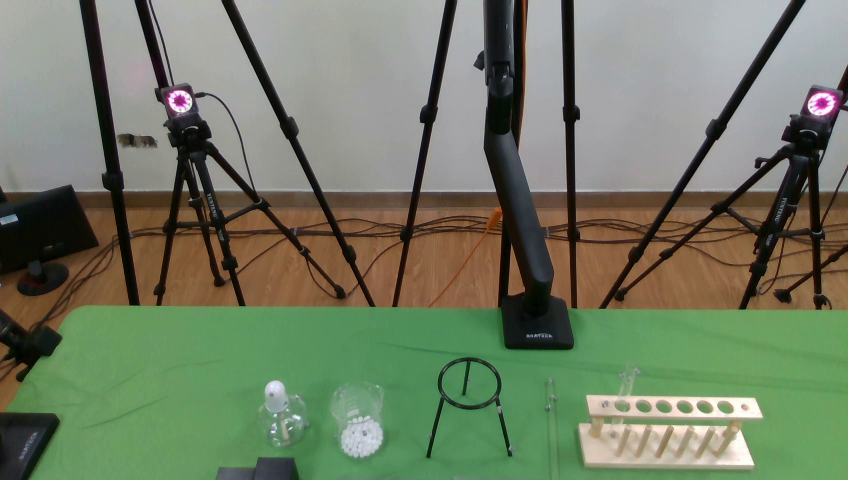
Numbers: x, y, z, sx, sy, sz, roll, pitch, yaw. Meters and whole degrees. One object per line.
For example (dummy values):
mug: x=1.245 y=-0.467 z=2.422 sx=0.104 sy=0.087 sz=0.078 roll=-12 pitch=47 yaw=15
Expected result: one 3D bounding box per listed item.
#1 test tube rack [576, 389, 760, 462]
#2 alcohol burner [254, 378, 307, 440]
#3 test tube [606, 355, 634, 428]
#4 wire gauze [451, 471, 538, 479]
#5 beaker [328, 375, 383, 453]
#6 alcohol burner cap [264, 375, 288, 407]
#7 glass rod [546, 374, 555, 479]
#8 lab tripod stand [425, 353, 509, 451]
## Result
test tube rack: x=0.353 y=0.271 z=0.883 sx=0.242 sy=0.086 sz=0.066 roll=0 pitch=41 yaw=2
alcohol burner: x=-0.216 y=0.244 z=0.903 sx=0.078 sy=0.120 sz=0.077 roll=0 pitch=39 yaw=0
test tube: x=0.280 y=0.220 z=0.868 sx=0.017 sy=0.151 sz=0.017 roll=-1 pitch=38 yaw=1
wire gauze: x=0.098 y=0.371 z=0.826 sx=0.125 sy=0.011 sz=0.120 roll=1 pitch=39 yaw=4
beaker: x=-0.096 y=0.259 z=0.895 sx=0.084 sy=0.101 sz=0.073 roll=-27 pitch=47 yaw=-28
alcohol burner cap: x=-0.216 y=0.216 z=0.879 sx=0.034 sy=0.048 sz=0.033 roll=3 pitch=43 yaw=-2
glass rod: x=0.193 y=0.287 z=0.924 sx=0.008 sy=0.008 sz=0.198 roll=4 pitch=42 yaw=5
lab tripod stand: x=0.061 y=0.238 z=0.891 sx=0.148 sy=0.133 sz=0.147 roll=-2 pitch=39 yaw=2
